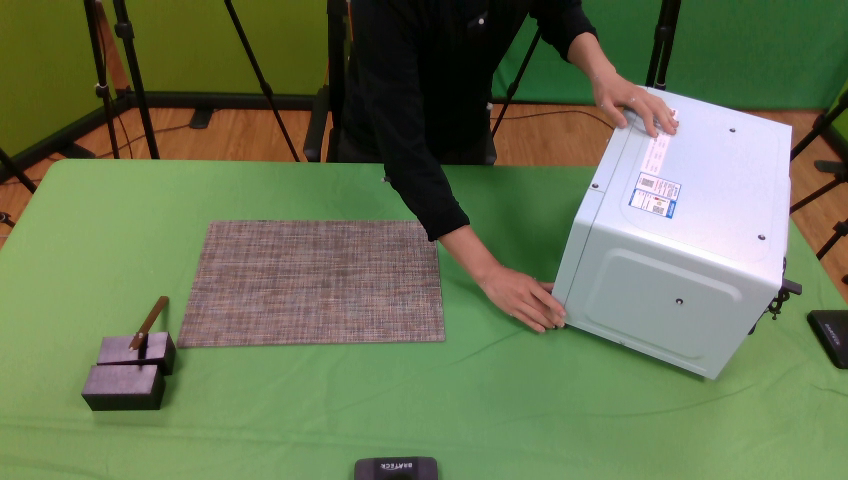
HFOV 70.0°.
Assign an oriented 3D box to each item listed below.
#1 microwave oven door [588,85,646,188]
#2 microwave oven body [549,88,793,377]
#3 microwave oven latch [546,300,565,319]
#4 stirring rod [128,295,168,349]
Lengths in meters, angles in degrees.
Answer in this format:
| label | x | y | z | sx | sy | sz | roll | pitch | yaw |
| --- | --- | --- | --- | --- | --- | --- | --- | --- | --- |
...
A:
| label | x | y | z | sx | sy | sz | roll | pitch | yaw |
| --- | --- | --- | --- | --- | --- | --- | --- | --- | --- |
| microwave oven door | 0.342 | -0.107 | 1.149 | 0.039 | 0.245 | 0.354 | 21 | 48 | 15 |
| microwave oven body | 0.456 | -0.028 | 1.088 | 0.325 | 0.261 | 0.440 | 20 | 47 | 16 |
| microwave oven latch | 0.244 | 0.103 | 1.079 | 0.030 | 0.029 | 0.079 | 24 | 49 | 20 |
| stirring rod | -0.451 | 0.131 | 0.996 | 0.014 | 0.006 | 0.175 | 8 | 20 | -10 |
